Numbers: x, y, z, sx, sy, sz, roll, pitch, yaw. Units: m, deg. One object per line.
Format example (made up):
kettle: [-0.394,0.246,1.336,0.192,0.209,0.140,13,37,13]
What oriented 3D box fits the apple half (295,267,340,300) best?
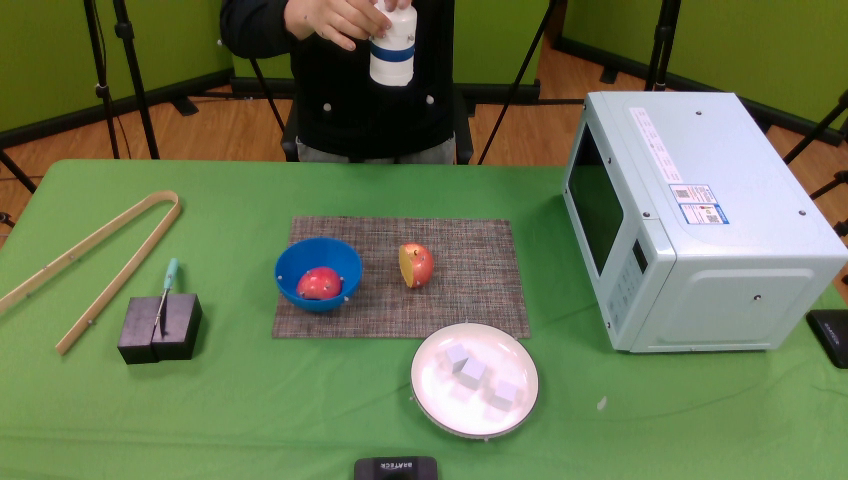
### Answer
apple half: [-0.187,0.070,1.067,0.081,0.033,0.081,3,47,-3]

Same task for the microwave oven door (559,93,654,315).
microwave oven door: [0.327,-0.074,1.123,0.039,0.245,0.353,-1,46,-5]

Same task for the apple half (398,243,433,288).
apple half: [-0.012,0.046,1.115,0.053,0.075,0.080,-11,44,-19]

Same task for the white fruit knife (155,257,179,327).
white fruit knife: [-0.440,0.085,1.037,0.016,0.027,0.206,10,26,-19]

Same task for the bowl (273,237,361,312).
bowl: [-0.186,0.074,1.069,0.151,0.077,0.150,3,46,-3]

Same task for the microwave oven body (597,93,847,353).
microwave oven body: [0.475,-0.041,1.110,0.326,0.261,0.438,-1,45,-4]

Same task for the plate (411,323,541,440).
plate: [0.082,0.228,0.976,0.208,0.039,0.206,2,45,-2]

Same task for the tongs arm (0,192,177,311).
tongs arm: [-0.618,0.019,1.124,0.050,0.026,0.384,24,47,16]

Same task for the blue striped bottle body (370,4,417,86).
blue striped bottle body: [-0.043,-0.283,0.843,0.063,0.121,0.062,4,43,-3]

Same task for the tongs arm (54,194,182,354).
tongs arm: [-0.543,0.048,1.108,0.028,0.028,0.385,11,45,10]

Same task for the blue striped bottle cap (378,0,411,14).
blue striped bottle cap: [-0.039,-0.320,0.808,0.044,0.021,0.044,3,46,-3]

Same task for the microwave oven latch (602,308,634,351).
microwave oven latch: [0.332,0.153,1.044,0.030,0.029,0.078,-1,45,-4]
